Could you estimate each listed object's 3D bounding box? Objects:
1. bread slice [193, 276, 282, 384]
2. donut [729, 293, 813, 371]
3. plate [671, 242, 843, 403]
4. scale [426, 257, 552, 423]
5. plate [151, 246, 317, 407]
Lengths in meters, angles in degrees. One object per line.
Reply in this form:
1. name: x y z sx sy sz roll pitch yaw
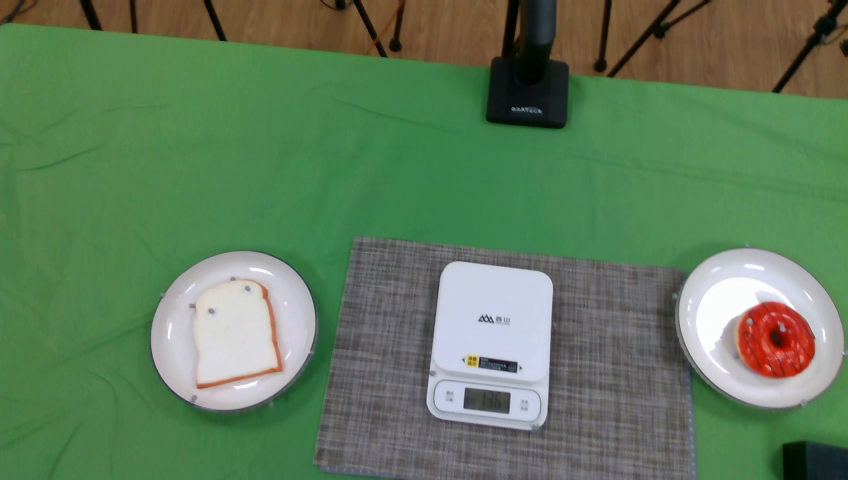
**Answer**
1. bread slice: -0.246 0.111 0.778 0.105 0.019 0.130 -13 68 -5
2. donut: 0.433 0.116 0.758 0.099 0.048 0.098 0 72 -1
3. plate: 0.418 0.104 0.775 0.208 0.039 0.206 0 68 0
4. scale: 0.085 0.123 0.769 0.148 0.032 0.199 6 69 3
5. plate: -0.240 0.110 0.777 0.209 0.038 0.207 0 69 1
